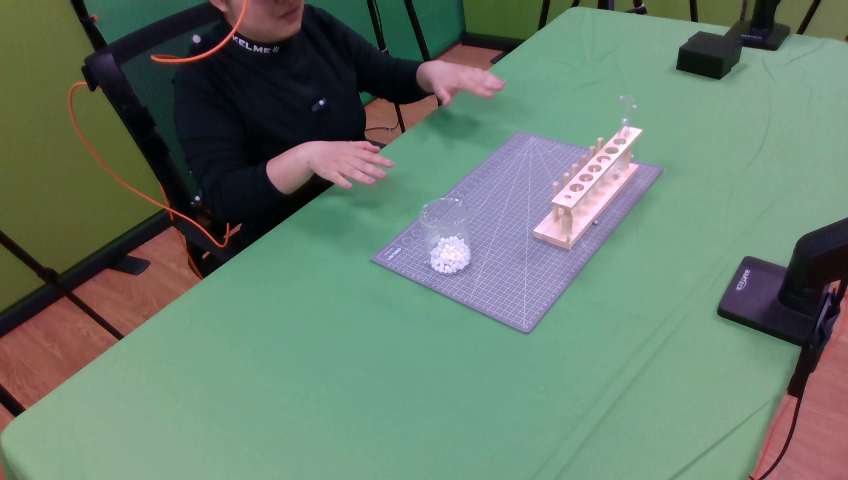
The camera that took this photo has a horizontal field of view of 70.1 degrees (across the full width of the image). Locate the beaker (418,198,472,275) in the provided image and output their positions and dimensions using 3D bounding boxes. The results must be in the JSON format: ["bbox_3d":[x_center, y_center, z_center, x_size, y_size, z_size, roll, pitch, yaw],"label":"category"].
[{"bbox_3d":[0.037,-0.004,0.916,0.073,0.101,0.084,24,49,33],"label":"beaker"}]

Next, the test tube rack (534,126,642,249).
[{"bbox_3d":[0.271,-0.095,0.990,0.066,0.085,0.243,23,49,33],"label":"test tube rack"}]

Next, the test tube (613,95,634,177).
[{"bbox_3d":[0.324,-0.166,0.987,0.017,0.151,0.017,-4,42,4],"label":"test tube"}]
